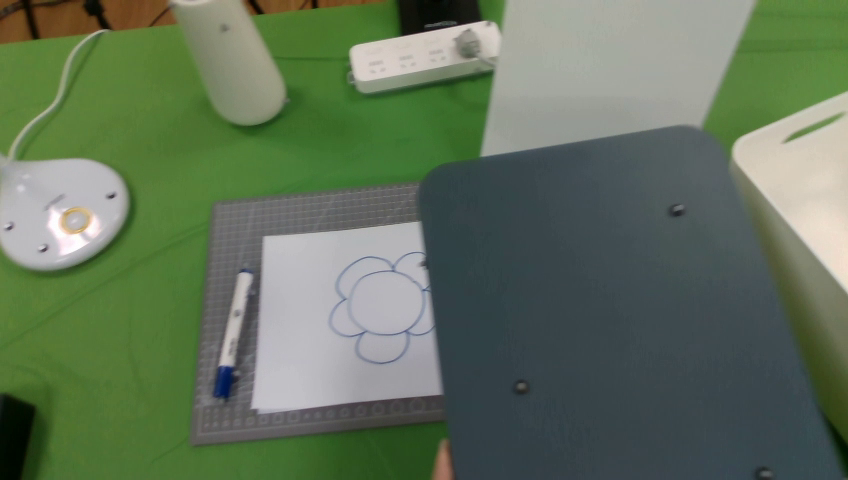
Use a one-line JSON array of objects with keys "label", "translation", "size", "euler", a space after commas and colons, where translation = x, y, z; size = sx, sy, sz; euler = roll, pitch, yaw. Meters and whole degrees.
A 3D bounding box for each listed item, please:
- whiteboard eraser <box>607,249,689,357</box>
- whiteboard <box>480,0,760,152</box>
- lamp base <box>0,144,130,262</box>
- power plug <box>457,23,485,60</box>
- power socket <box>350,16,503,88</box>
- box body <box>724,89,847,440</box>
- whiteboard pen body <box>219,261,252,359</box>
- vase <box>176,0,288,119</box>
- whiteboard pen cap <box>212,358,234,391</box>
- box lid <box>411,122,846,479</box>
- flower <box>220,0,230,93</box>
[{"label": "whiteboard eraser", "translation": [0.236, 0.067, 0.644], "size": [0.055, 0.042, 0.111], "euler": [-8, 61, -2]}, {"label": "whiteboard", "translation": [0.205, -0.187, 0.668], "size": [0.216, 0.308, 0.143], "euler": [23, 45, 16]}, {"label": "lamp base", "translation": [-0.464, -0.086, 0.691], "size": [0.178, 0.182, 0.160], "euler": [24, 65, 19]}, {"label": "power plug", "translation": [0.062, -0.255, 0.808], "size": [0.035, 0.053, 0.072], "euler": [-1, 68, 3]}, {"label": "power socket", "translation": [0.008, -0.261, 0.840], "size": [0.227, 0.033, 0.071], "euler": [-10, 62, -2]}, {"label": "box body", "translation": [0.472, 0.040, 0.574], "size": [0.254, 0.162, 0.360], "euler": [-22, 62, -8]}, {"label": "whiteboard pen body", "translation": [-0.209, 0.089, 0.667], "size": [0.017, 0.017, 0.139], "euler": [2, 64, 5]}, {"label": "vase", "translation": [-0.239, -0.242, 0.751], "size": [0.098, 0.202, 0.097], "euler": [-2, 61, 4]}, {"label": "whiteboard pen cap", "translation": [-0.212, 0.142, 0.642], "size": [0.018, 0.018, 0.033], "euler": [1, 64, 5]}, {"label": "box lid", "translation": [0.139, 0.078, 0.457], "size": [0.263, 0.015, 0.368], "euler": [-9, 67, 0]}, {"label": "flower", "translation": [-0.223, -0.276, 0.675], "size": [0.038, 0.363, 0.044], "euler": [42, 62, 5]}]
